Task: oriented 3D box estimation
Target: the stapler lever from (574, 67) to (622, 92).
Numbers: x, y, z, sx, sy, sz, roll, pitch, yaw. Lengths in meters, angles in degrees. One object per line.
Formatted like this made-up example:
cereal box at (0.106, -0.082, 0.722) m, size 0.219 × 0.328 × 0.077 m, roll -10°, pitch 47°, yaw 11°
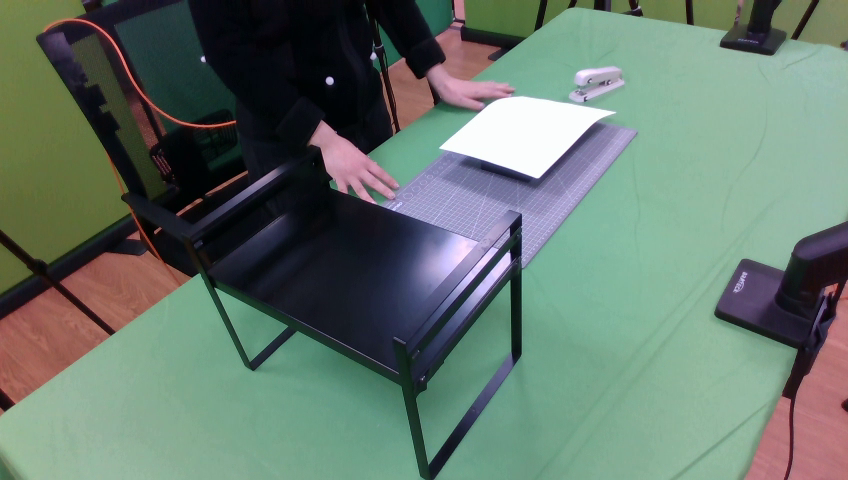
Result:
stapler lever at (0.372, -0.351, 1.293) m, size 0.118 × 0.040 × 0.026 m, roll -25°, pitch 45°, yaw -20°

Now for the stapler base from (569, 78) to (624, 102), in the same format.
stapler base at (0.373, -0.332, 1.308) m, size 0.131 × 0.024 × 0.041 m, roll -24°, pitch 44°, yaw -21°
